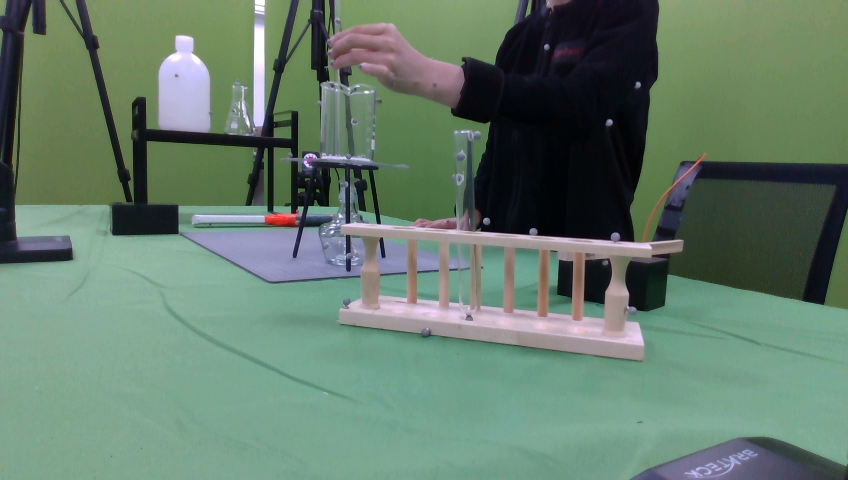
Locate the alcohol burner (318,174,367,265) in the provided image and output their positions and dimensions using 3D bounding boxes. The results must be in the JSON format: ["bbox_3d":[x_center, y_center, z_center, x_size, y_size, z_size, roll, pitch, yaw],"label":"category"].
[{"bbox_3d":[-0.100,-0.028,0.790,0.078,0.119,0.078,0,6,0],"label":"alcohol burner"}]

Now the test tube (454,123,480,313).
[{"bbox_3d":[0.034,-0.016,0.476,0.017,0.150,0.017,-2,9,1],"label":"test tube"}]

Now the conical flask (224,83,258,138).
[{"bbox_3d":[-0.422,-0.299,1.395,0.075,0.122,0.075,2,7,0],"label":"conical flask"}]

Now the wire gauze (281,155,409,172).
[{"bbox_3d":[-0.104,-0.103,0.785,0.126,0.011,0.121,1,8,-39],"label":"wire gauze"}]

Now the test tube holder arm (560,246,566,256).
[{"bbox_3d":[0.173,0.007,0.611,0.088,0.015,0.010,-3,11,-29],"label":"test tube holder arm"}]

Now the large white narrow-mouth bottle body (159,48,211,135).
[{"bbox_3d":[-0.503,-0.322,1.275,0.102,0.194,0.102,2,7,0],"label":"large white narrow-mouth bottle body"}]

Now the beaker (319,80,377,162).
[{"bbox_3d":[-0.098,-0.151,0.777,0.074,0.100,0.084,1,7,-7],"label":"beaker"}]

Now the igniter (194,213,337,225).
[{"bbox_3d":[-0.306,-0.042,1.196,0.278,0.025,0.057,-2,-2,-31],"label":"igniter"}]

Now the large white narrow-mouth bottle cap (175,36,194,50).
[{"bbox_3d":[-0.501,-0.410,1.264,0.038,0.024,0.037,2,7,0],"label":"large white narrow-mouth bottle cap"}]

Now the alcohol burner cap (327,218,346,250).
[{"bbox_3d":[-0.132,-0.010,0.927,0.034,0.048,0.034,3,8,0],"label":"alcohol burner cap"}]

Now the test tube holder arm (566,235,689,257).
[{"bbox_3d":[0.216,0.006,0.629,0.179,0.015,0.013,-3,11,-30],"label":"test tube holder arm"}]

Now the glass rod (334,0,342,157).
[{"bbox_3d":[-0.109,-0.206,0.765,0.008,0.199,0.008,1,11,0],"label":"glass rod"}]

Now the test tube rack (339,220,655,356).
[{"bbox_3d":[0.056,0.032,0.495,0.242,0.085,0.067,4,7,15],"label":"test tube rack"}]

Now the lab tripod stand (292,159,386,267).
[{"bbox_3d":[-0.105,-0.039,0.797,0.148,0.131,0.148,2,5,0],"label":"lab tripod stand"}]
